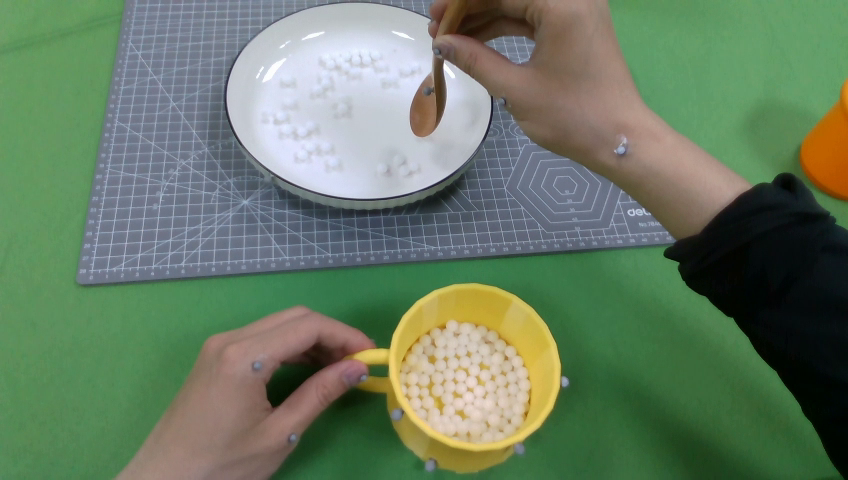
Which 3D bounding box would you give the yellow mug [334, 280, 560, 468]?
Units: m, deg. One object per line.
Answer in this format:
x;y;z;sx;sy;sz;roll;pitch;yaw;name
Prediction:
0.011;0.082;0.370;0.131;0.064;0.099;3;60;-4;yellow mug

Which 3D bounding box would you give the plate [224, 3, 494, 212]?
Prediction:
-0.049;-0.106;0.485;0.208;0.039;0.206;3;60;-4;plate

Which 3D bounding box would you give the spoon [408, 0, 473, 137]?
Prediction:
0.012;-0.116;0.374;0.022;0.194;0.041;-5;77;-10;spoon
